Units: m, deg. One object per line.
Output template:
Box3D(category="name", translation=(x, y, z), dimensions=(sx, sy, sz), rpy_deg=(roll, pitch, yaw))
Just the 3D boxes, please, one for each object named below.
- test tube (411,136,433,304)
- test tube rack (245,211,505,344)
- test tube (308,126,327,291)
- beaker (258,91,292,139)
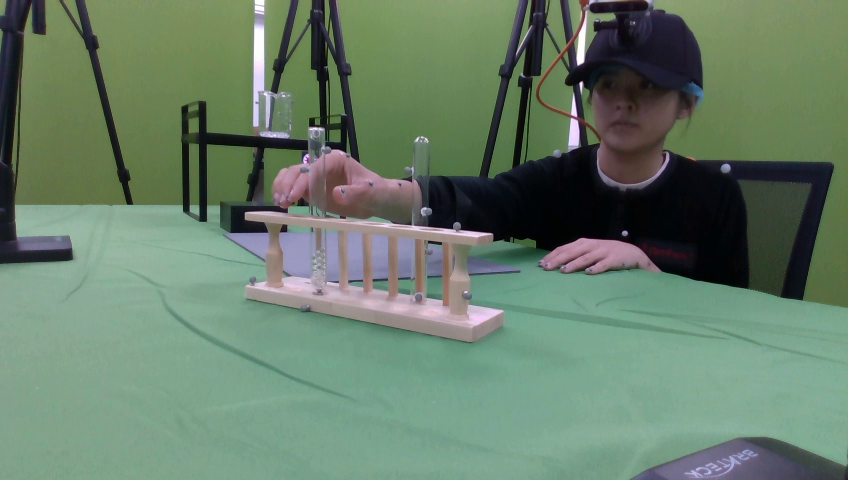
Box3D(category="test tube", translation=(-0.002, -0.017, 0.538), dimensions=(0.017, 0.150, 0.017), rpy_deg=(2, 7, 0))
Box3D(category="test tube rack", translation=(-0.049, 0.025, 0.547), dimensions=(0.241, 0.085, 0.067), rpy_deg=(7, 8, 28))
Box3D(category="test tube", translation=(-0.096, -0.027, 0.549), dimensions=(0.017, 0.150, 0.017), rpy_deg=(1, 7, 0))
Box3D(category="beaker", translation=(-0.331, -0.276, 1.343), dimensions=(0.074, 0.100, 0.083), rpy_deg=(0, 8, -20))
